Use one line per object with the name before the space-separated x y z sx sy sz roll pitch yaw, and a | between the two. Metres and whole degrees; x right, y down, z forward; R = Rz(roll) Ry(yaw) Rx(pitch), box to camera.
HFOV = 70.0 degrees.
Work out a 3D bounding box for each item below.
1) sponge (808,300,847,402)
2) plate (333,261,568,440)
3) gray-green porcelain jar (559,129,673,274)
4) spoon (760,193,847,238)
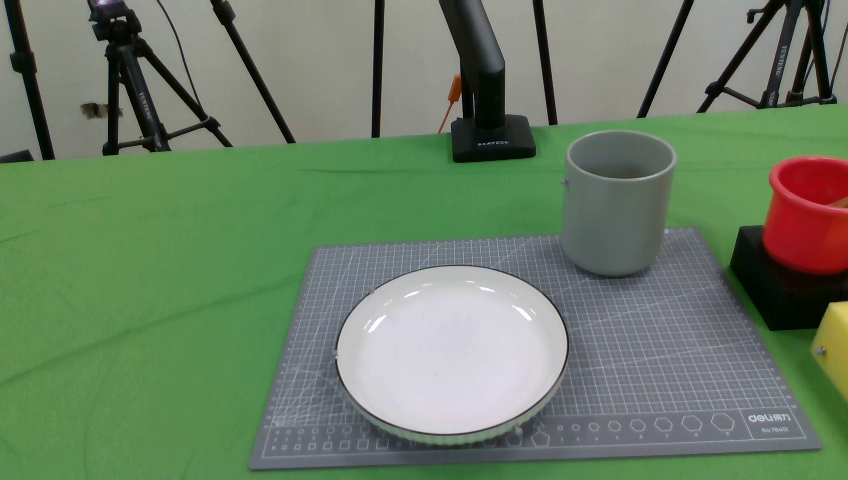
sponge | 0.404 0.128 0.444 0.118 0.061 0.204 -6 36 0
plate | 0.024 0.097 0.551 0.207 0.039 0.205 -4 36 3
gray-green porcelain jar | 0.196 -0.036 0.634 0.106 0.127 0.105 -4 37 3
spoon | 0.392 -0.045 0.525 0.194 0.022 0.041 -35 14 44
